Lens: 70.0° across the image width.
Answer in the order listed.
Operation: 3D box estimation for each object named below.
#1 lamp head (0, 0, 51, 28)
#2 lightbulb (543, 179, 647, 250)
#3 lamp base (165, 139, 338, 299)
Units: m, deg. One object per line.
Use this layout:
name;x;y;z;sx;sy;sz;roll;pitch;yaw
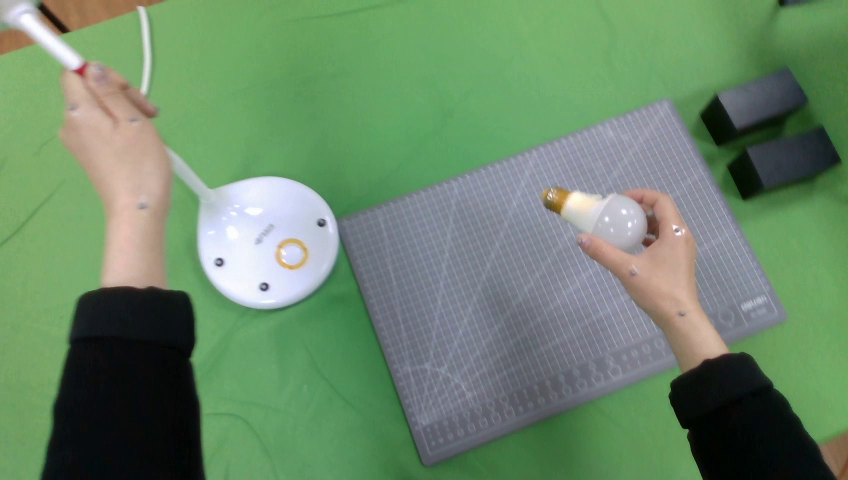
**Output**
lamp head;-0.295;-0.192;0.384;0.112;0.123;0.112;1;80;-3
lightbulb;0.164;-0.030;0.592;0.107;0.060;0.059;30;76;26
lamp base;-0.194;-0.035;0.639;0.178;0.181;0.160;26;76;10
